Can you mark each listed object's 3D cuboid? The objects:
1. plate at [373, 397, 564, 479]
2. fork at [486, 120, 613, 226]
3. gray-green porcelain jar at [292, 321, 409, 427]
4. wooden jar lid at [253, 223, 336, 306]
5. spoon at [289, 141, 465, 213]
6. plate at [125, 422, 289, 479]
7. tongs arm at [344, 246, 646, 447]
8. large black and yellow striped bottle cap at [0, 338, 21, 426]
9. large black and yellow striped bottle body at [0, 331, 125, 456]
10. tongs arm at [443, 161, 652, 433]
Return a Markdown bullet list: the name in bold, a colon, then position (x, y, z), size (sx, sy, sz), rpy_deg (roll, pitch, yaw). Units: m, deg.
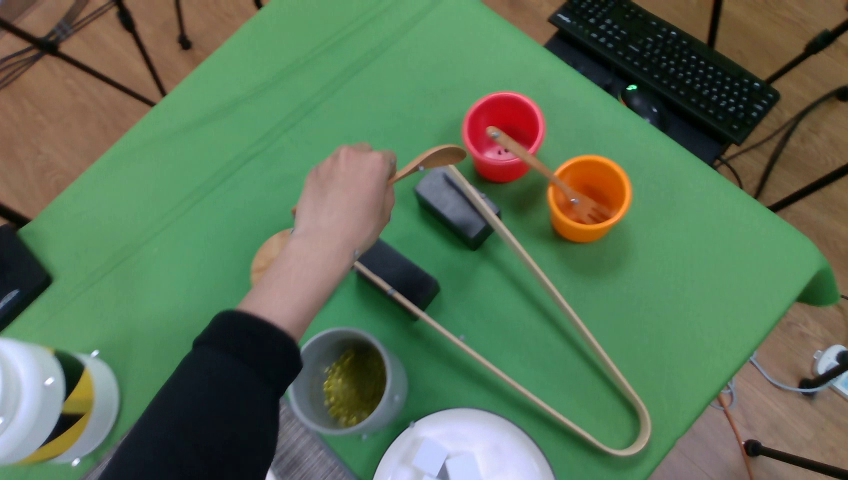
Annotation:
- **plate**: position (0.048, 0.278, 0.658), size (0.207, 0.039, 0.206), rpy_deg (-2, 74, 7)
- **fork**: position (0.146, -0.074, 0.689), size (0.209, 0.018, 0.028), rpy_deg (33, 87, -29)
- **gray-green porcelain jar**: position (-0.074, 0.150, 0.665), size (0.106, 0.127, 0.105), rpy_deg (-2, 73, 7)
- **wooden jar lid**: position (-0.162, 0.032, 0.768), size (0.108, 0.021, 0.108), rpy_deg (-2, 75, 6)
- **spoon**: position (-0.041, -0.062, 0.594), size (0.194, 0.042, 0.021), rpy_deg (-26, 80, -25)
- **plate**: position (-0.243, 0.312, 0.682), size (0.209, 0.038, 0.208), rpy_deg (-2, 74, 7)
- **tongs arm**: position (0.074, 0.110, 0.675), size (0.384, 0.026, 0.050), rpy_deg (38, 80, 6)
- **large black and yellow striped bottle cap**: position (-0.459, 0.147, 0.599), size (0.115, 0.019, 0.114), rpy_deg (-2, 74, 6)
- **large black and yellow striped bottle body**: position (-0.447, 0.173, 0.678), size (0.130, 0.185, 0.130), rpy_deg (-2, 73, 7)
- **tongs arm**: position (0.133, 0.050, 0.685), size (0.028, 0.028, 0.386), rpy_deg (-36, 83, -11)
